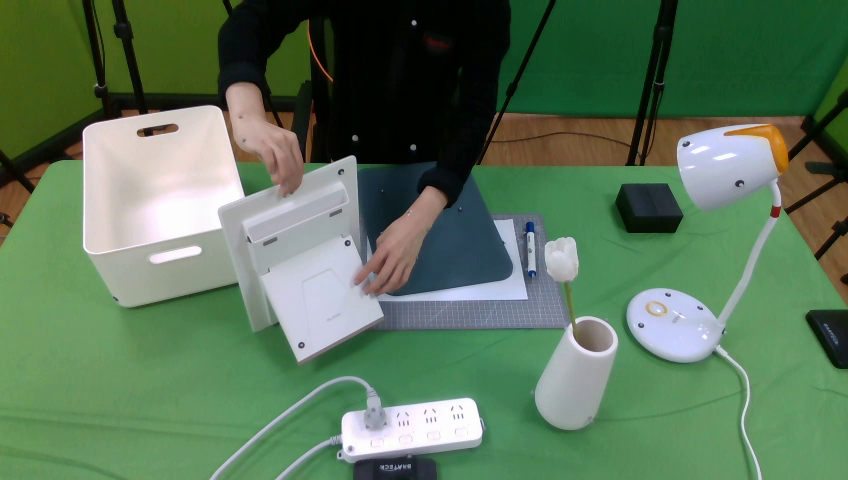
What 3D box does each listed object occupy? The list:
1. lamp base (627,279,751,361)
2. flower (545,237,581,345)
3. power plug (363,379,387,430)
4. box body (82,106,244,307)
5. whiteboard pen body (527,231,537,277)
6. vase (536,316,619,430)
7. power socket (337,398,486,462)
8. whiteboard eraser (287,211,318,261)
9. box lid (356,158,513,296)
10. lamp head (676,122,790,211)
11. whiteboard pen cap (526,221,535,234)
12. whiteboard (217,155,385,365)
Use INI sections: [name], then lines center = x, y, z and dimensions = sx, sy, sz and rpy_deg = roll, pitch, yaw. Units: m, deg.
[lamp base]
center = 0.460, 0.100, 1.027
dimensions = 0.178, 0.181, 0.160
rpy_deg = 27, 51, 17
[flower]
center = 0.213, 0.137, 0.846
dimensions = 0.038, 0.364, 0.044
rpy_deg = 21, 55, 40
[power plug]
center = -0.072, 0.252, 0.911
dimensions = 0.035, 0.053, 0.072
rpy_deg = 3, 40, 0
[box body]
center = -0.471, -0.071, 1.131
dimensions = 0.254, 0.161, 0.361
rpy_deg = -14, 49, -17
[whiteboard pen body]
center = 0.211, 0.018, 1.191
dimensions = 0.017, 0.017, 0.140
rpy_deg = 6, 44, 1
[vase]
center = 0.229, 0.200, 0.901
dimensions = 0.098, 0.201, 0.097
rpy_deg = 3, 46, -3
[power socket]
center = -0.018, 0.285, 0.914
dimensions = 0.227, 0.033, 0.071
rpy_deg = -4, 46, -8
[whiteboard eraser]
center = -0.234, -0.007, 1.173
dimensions = 0.055, 0.042, 0.112
rpy_deg = -4, 46, -5
[box lid]
center = 0.009, -0.039, 1.242
dimensions = 0.264, 0.015, 0.369
rpy_deg = -8, 47, -12
[lamp head]
center = 0.423, -0.104, 0.819
dimensions = 0.122, 0.113, 0.112
rpy_deg = -13, 33, 40
[whiteboard pen cap]
center = 0.216, -0.022, 1.234
dimensions = 0.018, 0.018, 0.033
rpy_deg = 7, 45, 2
[whiteboard]
center = -0.163, 0.055, 0.939
dimensions = 0.217, 0.307, 0.143
rpy_deg = -26, 56, -24
